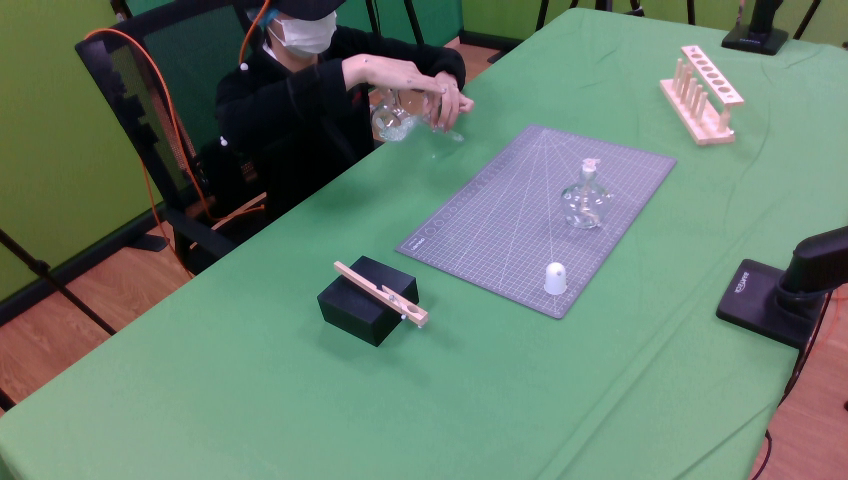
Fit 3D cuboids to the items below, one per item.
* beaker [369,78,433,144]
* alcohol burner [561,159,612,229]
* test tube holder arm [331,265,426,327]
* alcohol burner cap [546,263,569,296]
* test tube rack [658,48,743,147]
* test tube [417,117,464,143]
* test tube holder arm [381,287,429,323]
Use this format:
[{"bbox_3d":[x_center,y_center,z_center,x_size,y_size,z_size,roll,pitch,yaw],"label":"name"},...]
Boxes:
[{"bbox_3d":[-0.038,-0.209,1.002,0.073,0.084,0.100,3,39,31],"label":"beaker"},{"bbox_3d":[0.257,-0.077,0.951,0.078,0.119,0.077,-3,40,3],"label":"alcohol burner"},{"bbox_3d":[-0.066,0.074,0.828,0.177,0.015,0.013,25,42,33],"label":"test tube holder arm"},{"bbox_3d":[0.191,0.053,0.862,0.034,0.048,0.033,-5,40,4],"label":"alcohol burner cap"},{"bbox_3d":[0.532,-0.284,1.181,0.067,0.085,0.241,-5,40,4],"label":"test tube rack"},{"bbox_3d":[0.034,-0.201,1.116,0.017,0.017,0.151,23,8,32],"label":"test tube"},{"bbox_3d":[-0.028,0.087,0.807,0.087,0.015,0.010,25,42,33],"label":"test tube holder arm"}]
